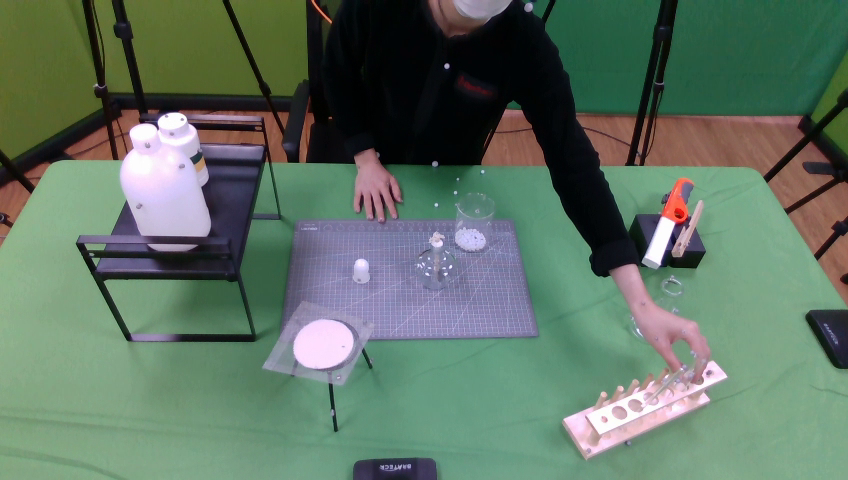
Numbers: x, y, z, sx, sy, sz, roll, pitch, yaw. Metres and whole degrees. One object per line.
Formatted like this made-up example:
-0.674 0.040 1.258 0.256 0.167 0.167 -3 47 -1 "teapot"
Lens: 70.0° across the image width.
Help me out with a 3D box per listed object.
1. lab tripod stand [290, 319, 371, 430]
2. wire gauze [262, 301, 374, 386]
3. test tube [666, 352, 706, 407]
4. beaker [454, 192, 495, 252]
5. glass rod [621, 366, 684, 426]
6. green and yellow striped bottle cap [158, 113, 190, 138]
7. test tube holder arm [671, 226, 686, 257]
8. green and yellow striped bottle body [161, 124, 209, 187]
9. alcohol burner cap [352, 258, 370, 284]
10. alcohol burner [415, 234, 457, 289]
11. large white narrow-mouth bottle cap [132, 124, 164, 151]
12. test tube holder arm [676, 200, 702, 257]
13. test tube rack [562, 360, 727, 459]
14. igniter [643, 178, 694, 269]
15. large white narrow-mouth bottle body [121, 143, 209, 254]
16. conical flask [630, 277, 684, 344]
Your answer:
-0.146 0.194 0.923 0.148 0.132 0.147 1 47 -1 "lab tripod stand"
-0.151 0.148 0.873 0.121 0.011 0.124 14 46 12 "wire gauze"
0.385 0.210 0.900 0.017 0.151 0.017 0 49 0 "test tube"
0.097 -0.034 1.180 0.074 0.101 0.084 23 49 17 "beaker"
0.322 0.227 0.866 0.008 0.200 0.008 6 51 -7 "glass rod"
-0.393 -0.180 0.951 0.045 0.020 0.045 2 44 -2 "green and yellow striped bottle cap"
0.494 0.001 1.166 0.010 0.015 0.087 0 35 42 "test tube holder arm"
-0.395 -0.145 0.989 0.063 0.120 0.063 2 46 -2 "green and yellow striped bottle body"
-0.117 0.055 1.118 0.034 0.048 0.033 2 46 -2 "alcohol burner cap"
0.022 0.034 1.100 0.078 0.120 0.077 1 47 0 "alcohol burner"
-0.370 -0.138 0.812 0.038 0.024 0.037 3 46 -3 "large white narrow-mouth bottle cap"
0.522 -0.025 1.190 0.013 0.015 0.178 -1 35 41 "test tube holder arm"
0.341 0.247 0.940 0.243 0.085 0.066 -16 50 -18 "test tube rack"
0.488 -0.042 1.204 0.057 0.025 0.276 30 52 11 "igniter"
-0.377 -0.077 0.875 0.102 0.195 0.101 3 46 -3 "large white narrow-mouth bottle body"
0.408 0.117 1.045 0.075 0.122 0.075 2 46 -2 "conical flask"
